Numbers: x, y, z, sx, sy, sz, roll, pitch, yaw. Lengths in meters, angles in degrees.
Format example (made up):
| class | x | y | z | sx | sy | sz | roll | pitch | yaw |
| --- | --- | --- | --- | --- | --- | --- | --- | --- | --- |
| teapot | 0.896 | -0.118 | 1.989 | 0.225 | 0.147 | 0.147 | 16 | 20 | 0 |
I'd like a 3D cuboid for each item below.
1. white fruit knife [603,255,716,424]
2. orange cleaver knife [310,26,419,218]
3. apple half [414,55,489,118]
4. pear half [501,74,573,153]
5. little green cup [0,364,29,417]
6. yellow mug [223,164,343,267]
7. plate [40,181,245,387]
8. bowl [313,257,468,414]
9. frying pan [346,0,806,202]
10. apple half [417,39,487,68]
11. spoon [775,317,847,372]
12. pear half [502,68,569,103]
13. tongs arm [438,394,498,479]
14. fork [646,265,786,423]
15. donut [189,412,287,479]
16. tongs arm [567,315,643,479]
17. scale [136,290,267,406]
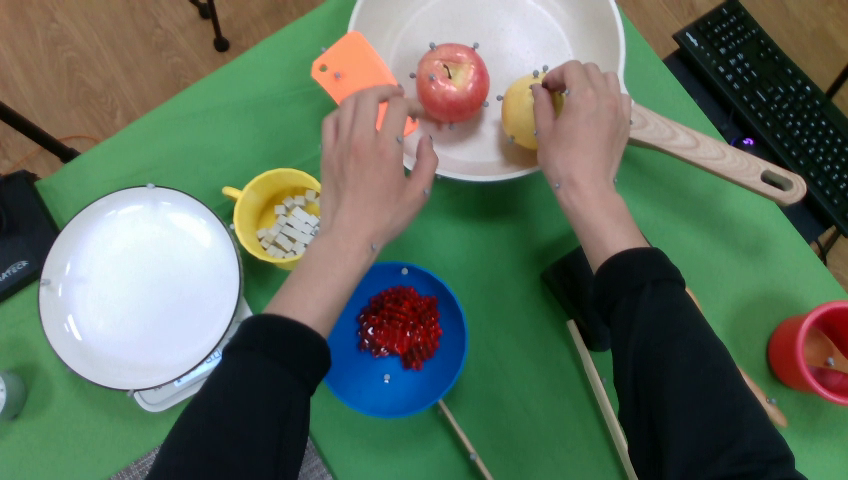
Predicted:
| class | x | y | z | sx | sy | sz | roll | pitch | yaw |
| --- | --- | --- | --- | --- | --- | --- | --- | --- | --- |
| white fruit knife | 0.234 | 0.101 | 0.603 | 0.016 | 0.027 | 0.208 | -35 | 95 | -4 |
| orange cleaver knife | -0.047 | -0.124 | 0.622 | 0.077 | 0.012 | 0.210 | -28 | 81 | 0 |
| apple half | 0.027 | -0.160 | 0.653 | 0.081 | 0.075 | 0.053 | 8 | 84 | 0 |
| pear half | 0.119 | -0.130 | 0.633 | 0.076 | 0.111 | 0.055 | -15 | 67 | 11 |
| little green cup | -0.458 | 0.161 | 0.643 | 0.061 | 0.039 | 0.061 | 0 | 80 | 3 |
| yellow mug | -0.157 | -0.031 | 0.648 | 0.130 | 0.064 | 0.100 | 24 | 83 | 7 |
| plate | -0.284 | 0.044 | 0.626 | 0.209 | 0.038 | 0.208 | 0 | 80 | 2 |
| bowl | -0.030 | 0.096 | 0.617 | 0.151 | 0.077 | 0.151 | 0 | 81 | 2 |
| frying pan | 0.151 | -0.154 | 0.637 | 0.485 | 0.103 | 0.306 | 29 | 84 | 15 |
| apple half | 0.032 | -0.197 | 0.659 | 0.081 | 0.081 | 0.032 | 8 | 84 | 4 |
| spoon | 0.415 | 0.132 | 0.559 | 0.041 | 0.191 | 0.022 | -38 | 126 | -5 |
| pear half | 0.116 | -0.166 | 0.643 | 0.070 | 0.088 | 0.031 | -10 | 82 | 5 |
| tongs arm | 0.133 | 0.299 | 0.597 | 0.051 | 0.026 | 0.383 | -32 | 82 | -6 |
| fork | 0.296 | 0.107 | 0.607 | 0.028 | 0.018 | 0.208 | -42 | 97 | -5 |
| donut | -0.189 | 0.225 | 0.614 | 0.099 | 0.048 | 0.098 | 0 | 82 | 4 |
| tongs arm | 0.209 | 0.260 | 0.601 | 0.028 | 0.028 | 0.386 | -17 | 81 | -7 |
| scale | -0.275 | 0.062 | 0.655 | 0.148 | 0.031 | 0.200 | -29 | 81 | -2 |
